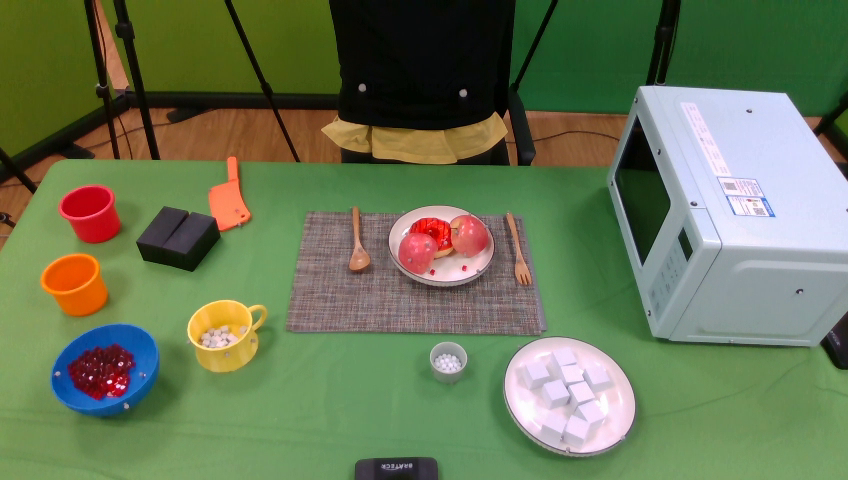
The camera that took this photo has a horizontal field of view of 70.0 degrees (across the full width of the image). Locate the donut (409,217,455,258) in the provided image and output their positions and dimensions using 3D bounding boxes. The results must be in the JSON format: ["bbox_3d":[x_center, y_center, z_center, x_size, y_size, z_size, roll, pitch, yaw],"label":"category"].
[{"bbox_3d":[0.020,-0.006,1.174,0.099,0.048,0.098,2,44,-2],"label":"donut"}]

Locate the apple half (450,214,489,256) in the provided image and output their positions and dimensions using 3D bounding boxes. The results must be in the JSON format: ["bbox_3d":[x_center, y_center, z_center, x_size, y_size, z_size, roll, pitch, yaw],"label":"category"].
[{"bbox_3d":[0.092,-0.013,1.158,0.075,0.053,0.080,34,39,-28],"label":"apple half"}]

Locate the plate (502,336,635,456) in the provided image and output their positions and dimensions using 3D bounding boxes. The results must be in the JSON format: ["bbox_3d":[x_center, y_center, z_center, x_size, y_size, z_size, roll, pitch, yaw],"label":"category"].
[{"bbox_3d":[0.225,0.248,0.964,0.208,0.039,0.206,2,46,-2],"label":"plate"}]

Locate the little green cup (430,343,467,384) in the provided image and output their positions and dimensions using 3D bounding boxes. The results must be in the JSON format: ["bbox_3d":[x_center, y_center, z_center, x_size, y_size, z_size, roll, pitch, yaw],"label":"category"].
[{"bbox_3d":[0.039,0.203,0.994,0.061,0.039,0.061,2,46,-2],"label":"little green cup"}]

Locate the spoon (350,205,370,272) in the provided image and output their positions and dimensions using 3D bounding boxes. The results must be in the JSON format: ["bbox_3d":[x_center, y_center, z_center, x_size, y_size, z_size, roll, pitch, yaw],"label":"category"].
[{"bbox_3d":[-0.130,-0.008,1.190,0.041,0.022,0.192,-22,47,11],"label":"spoon"}]

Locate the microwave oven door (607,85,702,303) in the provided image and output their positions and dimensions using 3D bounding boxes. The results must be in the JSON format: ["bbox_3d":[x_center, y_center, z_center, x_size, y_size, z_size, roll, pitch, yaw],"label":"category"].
[{"bbox_3d":[0.423,-0.094,1.141,0.039,0.245,0.353,2,46,-1],"label":"microwave oven door"}]

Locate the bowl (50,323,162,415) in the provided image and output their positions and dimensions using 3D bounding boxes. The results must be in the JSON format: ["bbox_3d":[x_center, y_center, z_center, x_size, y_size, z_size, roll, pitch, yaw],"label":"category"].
[{"bbox_3d":[-0.472,0.209,0.924,0.151,0.077,0.150,3,45,-2],"label":"bowl"}]

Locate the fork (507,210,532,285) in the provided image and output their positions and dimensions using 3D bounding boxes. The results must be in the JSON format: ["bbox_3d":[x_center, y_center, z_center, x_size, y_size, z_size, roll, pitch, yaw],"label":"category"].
[{"bbox_3d":[0.185,0.012,1.197,0.028,0.019,0.206,-5,48,0],"label":"fork"}]

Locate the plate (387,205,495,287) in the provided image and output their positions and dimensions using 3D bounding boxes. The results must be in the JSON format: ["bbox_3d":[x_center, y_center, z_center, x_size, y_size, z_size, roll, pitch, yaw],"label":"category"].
[{"bbox_3d":[0.033,0.014,1.171,0.209,0.038,0.208,2,46,-2],"label":"plate"}]

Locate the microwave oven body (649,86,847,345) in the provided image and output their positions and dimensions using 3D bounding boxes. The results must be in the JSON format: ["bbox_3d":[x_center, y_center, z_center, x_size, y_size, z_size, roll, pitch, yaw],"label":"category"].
[{"bbox_3d":[0.568,-0.053,1.118,0.326,0.261,0.439,2,45,-1],"label":"microwave oven body"}]

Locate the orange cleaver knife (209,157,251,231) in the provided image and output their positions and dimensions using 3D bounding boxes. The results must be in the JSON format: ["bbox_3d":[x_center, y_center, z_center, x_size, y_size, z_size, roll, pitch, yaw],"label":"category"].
[{"bbox_3d":[-0.409,-0.099,1.266,0.077,0.012,0.210,-14,50,-10],"label":"orange cleaver knife"}]

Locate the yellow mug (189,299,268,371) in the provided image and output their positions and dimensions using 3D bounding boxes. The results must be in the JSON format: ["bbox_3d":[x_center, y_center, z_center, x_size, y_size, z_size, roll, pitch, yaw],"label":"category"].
[{"bbox_3d":[-0.316,0.148,1.002,0.131,0.064,0.099,-33,56,-31],"label":"yellow mug"}]

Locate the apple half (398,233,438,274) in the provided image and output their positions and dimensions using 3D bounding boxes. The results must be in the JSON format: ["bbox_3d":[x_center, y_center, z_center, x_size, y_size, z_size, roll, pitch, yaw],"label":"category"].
[{"bbox_3d":[-0.016,0.022,1.123,0.081,0.033,0.081,-2,83,14],"label":"apple half"}]

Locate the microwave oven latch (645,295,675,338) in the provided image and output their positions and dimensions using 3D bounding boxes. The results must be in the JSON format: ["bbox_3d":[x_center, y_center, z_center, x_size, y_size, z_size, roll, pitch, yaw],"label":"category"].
[{"bbox_3d":[0.412,0.134,1.061,0.030,0.029,0.078,3,45,0],"label":"microwave oven latch"}]
